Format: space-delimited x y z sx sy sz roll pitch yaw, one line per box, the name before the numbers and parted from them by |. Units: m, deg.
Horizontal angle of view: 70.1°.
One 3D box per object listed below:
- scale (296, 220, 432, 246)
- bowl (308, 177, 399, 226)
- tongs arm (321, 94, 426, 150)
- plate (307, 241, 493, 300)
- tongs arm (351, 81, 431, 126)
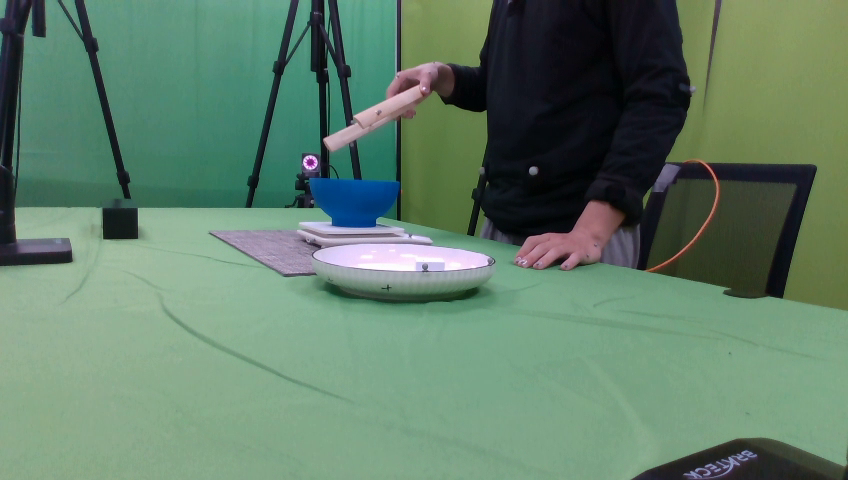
scale | -0.101 -0.012 1.017 0.202 0.031 0.148 -1 8 -30
bowl | -0.117 -0.064 1.001 0.151 0.077 0.151 2 6 0
tongs arm | -0.080 -0.233 1.121 0.050 0.026 0.385 -33 8 28
plate | -0.027 0.034 0.684 0.208 0.039 0.207 2 7 0
tongs arm | -0.048 -0.253 1.100 0.028 0.028 0.388 -37 6 27
